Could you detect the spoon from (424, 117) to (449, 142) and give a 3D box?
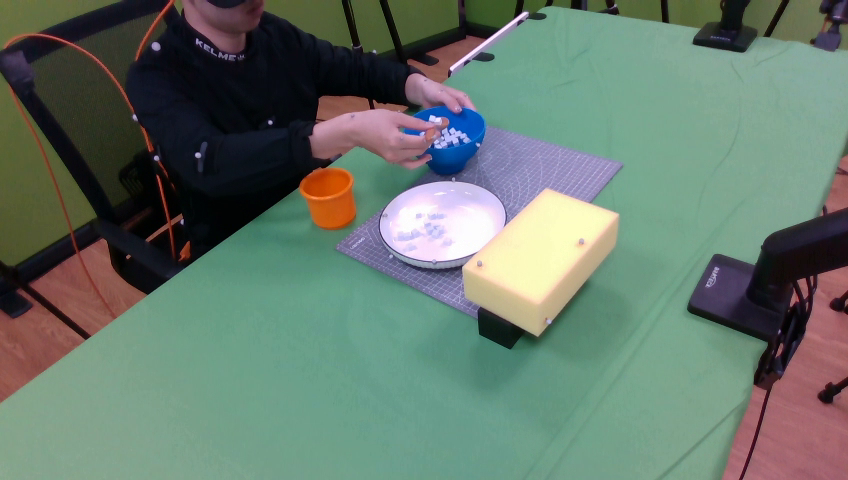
[{"bbox_3d":[0.014,-0.181,0.984,0.041,0.021,0.193,-8,15,10],"label":"spoon"}]

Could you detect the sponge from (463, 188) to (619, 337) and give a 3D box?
[{"bbox_3d":[0.160,0.022,0.814,0.117,0.061,0.207,25,50,32],"label":"sponge"}]

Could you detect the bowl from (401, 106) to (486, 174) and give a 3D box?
[{"bbox_3d":[0.039,-0.174,1.103,0.151,0.077,0.150,-3,40,3],"label":"bowl"}]

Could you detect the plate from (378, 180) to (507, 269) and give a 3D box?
[{"bbox_3d":[0.031,-0.022,0.974,0.209,0.038,0.208,-4,40,4],"label":"plate"}]
